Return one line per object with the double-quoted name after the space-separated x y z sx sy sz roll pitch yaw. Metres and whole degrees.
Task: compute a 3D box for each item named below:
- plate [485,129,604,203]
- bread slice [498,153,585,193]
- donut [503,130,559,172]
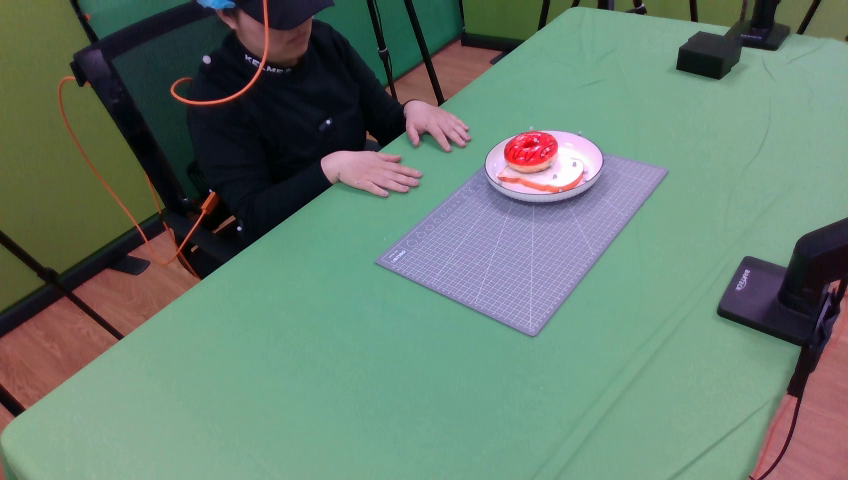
0.212 -0.129 1.079 0.209 0.038 0.208 -5 40 5 "plate"
0.215 -0.125 1.076 0.133 0.018 0.107 16 48 28 "bread slice"
0.190 -0.158 1.076 0.099 0.048 0.098 -8 40 8 "donut"
